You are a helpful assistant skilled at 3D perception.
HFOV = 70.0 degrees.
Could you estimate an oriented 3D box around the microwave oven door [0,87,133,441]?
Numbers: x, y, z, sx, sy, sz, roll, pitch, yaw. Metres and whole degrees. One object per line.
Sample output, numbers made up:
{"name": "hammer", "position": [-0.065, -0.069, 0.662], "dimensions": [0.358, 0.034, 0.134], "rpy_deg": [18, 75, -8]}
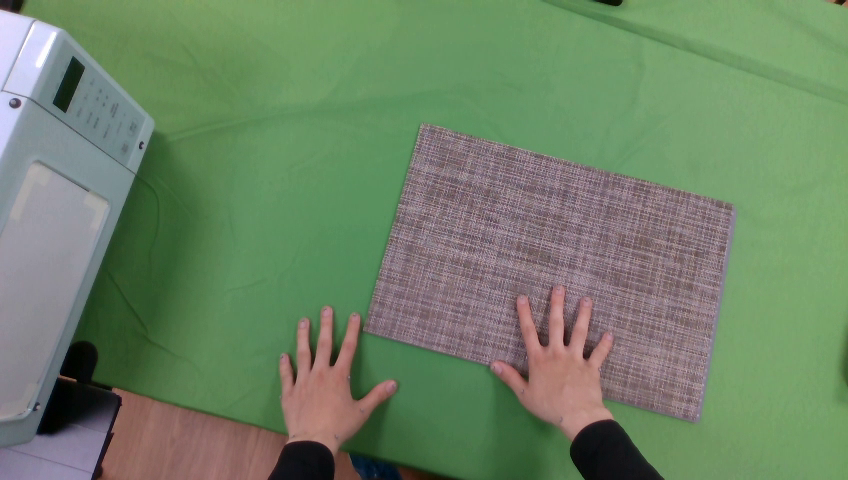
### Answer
{"name": "microwave oven door", "position": [-0.441, 0.044, 0.654], "dimensions": [0.039, 0.244, 0.354], "rpy_deg": [15, 80, 1]}

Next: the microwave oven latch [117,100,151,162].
{"name": "microwave oven latch", "position": [-0.384, -0.144, 0.791], "dimensions": [0.030, 0.029, 0.079], "rpy_deg": [18, 80, 0]}

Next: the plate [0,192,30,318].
{"name": "plate", "position": [-0.569, 0.023, 0.715], "dimensions": [0.209, 0.038, 0.208], "rpy_deg": [1, 82, -3]}

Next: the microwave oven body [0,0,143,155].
{"name": "microwave oven body", "position": [-0.571, -0.034, 0.667], "dimensions": [0.326, 0.261, 0.440], "rpy_deg": [15, 80, 0]}
